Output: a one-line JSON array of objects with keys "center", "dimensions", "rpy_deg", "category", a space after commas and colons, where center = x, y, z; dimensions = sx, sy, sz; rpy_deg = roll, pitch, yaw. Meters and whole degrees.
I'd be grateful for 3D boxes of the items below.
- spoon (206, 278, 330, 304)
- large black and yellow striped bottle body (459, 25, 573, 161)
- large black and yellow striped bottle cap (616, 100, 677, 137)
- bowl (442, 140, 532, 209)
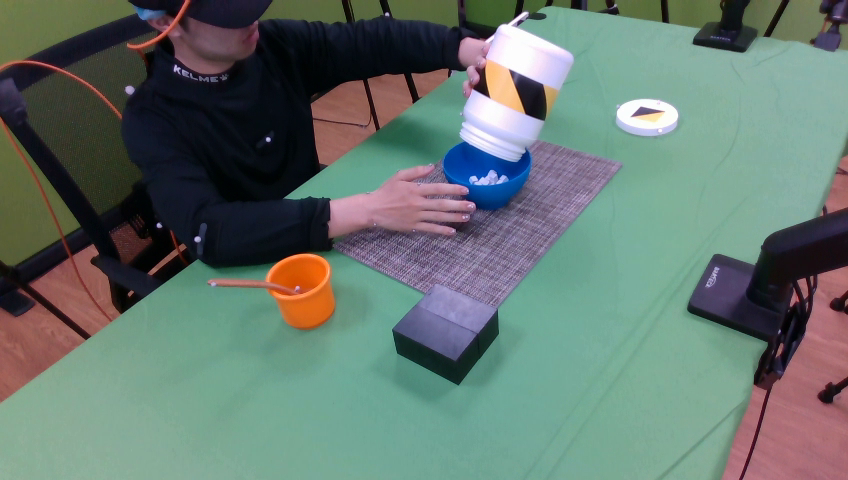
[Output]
[{"center": [-0.207, 0.066, 0.824], "dimensions": [0.041, 0.195, 0.021], "rpy_deg": [33, 99, 41], "category": "spoon"}, {"center": [0.141, -0.231, 0.963], "dimensions": [0.131, 0.184, 0.130], "rpy_deg": [22, 18, -7], "category": "large black and yellow striped bottle body"}, {"center": [0.438, -0.241, 1.190], "dimensions": [0.115, 0.019, 0.114], "rpy_deg": [-4, 42, 4], "category": "large black and yellow striped bottle cap"}, {"center": [0.108, -0.106, 1.026], "dimensions": [0.151, 0.077, 0.150], "rpy_deg": [-4, 41, 4], "category": "bowl"}]
